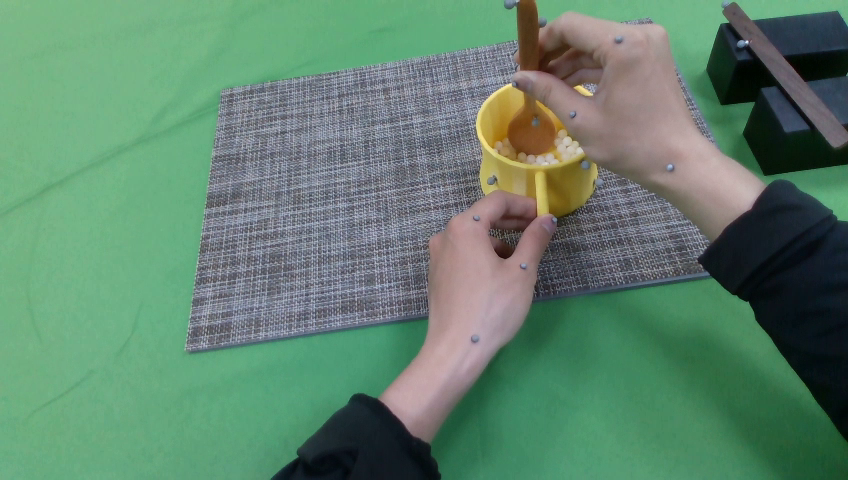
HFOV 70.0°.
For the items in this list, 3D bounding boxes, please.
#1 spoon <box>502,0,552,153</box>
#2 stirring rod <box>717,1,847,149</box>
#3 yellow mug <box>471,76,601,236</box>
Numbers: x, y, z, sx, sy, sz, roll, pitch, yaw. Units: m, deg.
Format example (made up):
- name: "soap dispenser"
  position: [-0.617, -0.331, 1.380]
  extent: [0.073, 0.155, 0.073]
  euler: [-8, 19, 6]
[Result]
- name: "spoon"
  position: [0.073, -0.109, 0.436]
  extent: [0.041, 0.195, 0.021]
  euler: [6, 78, 12]
- name: "stirring rod"
  position: [0.282, -0.138, 0.486]
  extent: [0.014, 0.006, 0.174]
  euler: [-35, 50, 28]
- name: "yellow mug"
  position: [0.090, -0.063, 0.486]
  extent: [0.100, 0.064, 0.129]
  euler: [-2, 57, 7]
